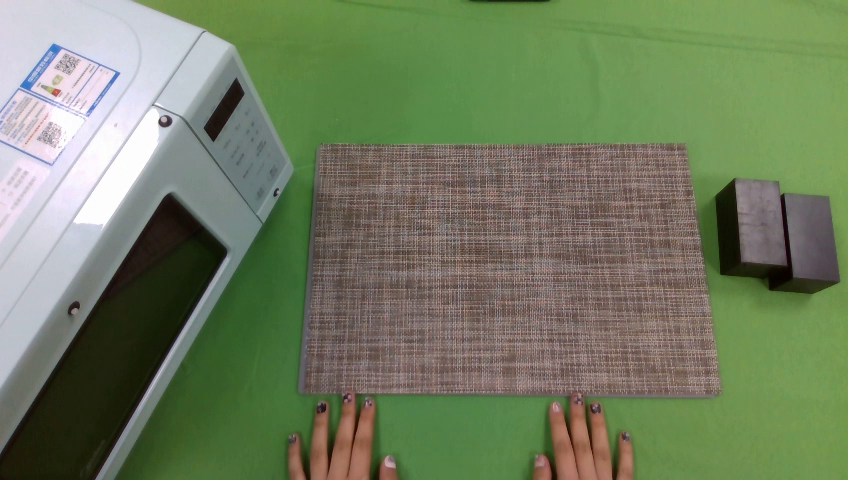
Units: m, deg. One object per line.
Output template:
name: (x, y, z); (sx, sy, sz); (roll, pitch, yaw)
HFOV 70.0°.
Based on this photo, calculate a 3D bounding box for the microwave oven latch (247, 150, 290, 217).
microwave oven latch: (-0.183, -0.068, 0.696); (0.030, 0.029, 0.079); (24, 74, 7)

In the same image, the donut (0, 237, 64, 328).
donut: (-0.414, 0.042, 0.606); (0.099, 0.048, 0.098); (2, 56, -3)

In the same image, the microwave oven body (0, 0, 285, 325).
microwave oven body: (-0.393, -0.006, 0.573); (0.325, 0.261, 0.440); (24, 74, 7)

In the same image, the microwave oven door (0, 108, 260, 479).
microwave oven door: (-0.277, 0.086, 0.537); (0.039, 0.245, 0.354); (23, 73, 8)

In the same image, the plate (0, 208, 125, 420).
plate: (-0.385, 0.070, 0.591); (0.209, 0.038, 0.207); (-3, 69, 8)
